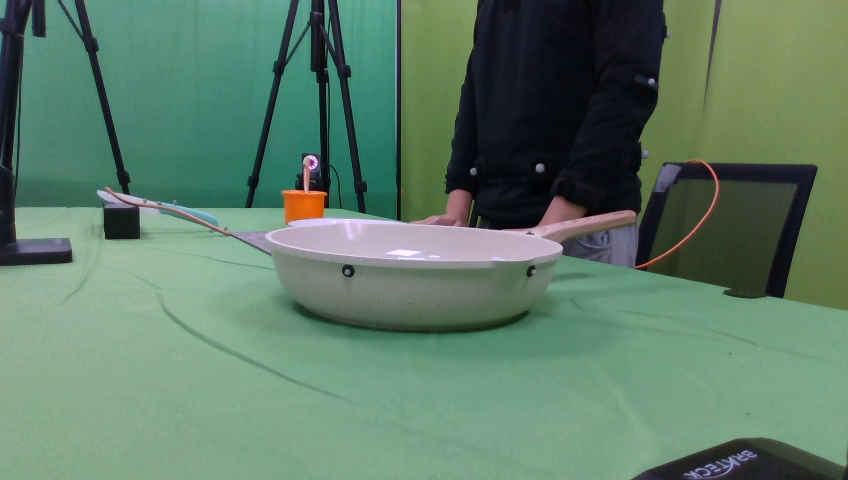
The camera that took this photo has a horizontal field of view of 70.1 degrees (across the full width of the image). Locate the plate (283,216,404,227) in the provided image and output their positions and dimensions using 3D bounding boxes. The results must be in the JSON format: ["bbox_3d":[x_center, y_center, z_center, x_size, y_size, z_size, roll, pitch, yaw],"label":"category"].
[{"bbox_3d":[-0.119,-0.009,0.968,0.208,0.039,0.207,3,7,0],"label":"plate"}]

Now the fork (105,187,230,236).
[{"bbox_3d":[-0.428,-0.046,1.020,0.208,0.018,0.028,19,-8,-26],"label":"fork"}]

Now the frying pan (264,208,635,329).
[{"bbox_3d":[0.075,0.007,0.666,0.490,0.102,0.305,-12,15,-33],"label":"frying pan"}]

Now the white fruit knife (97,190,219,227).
[{"bbox_3d":[-0.468,-0.056,1.079,0.208,0.027,0.016,15,-1,-29],"label":"white fruit knife"}]

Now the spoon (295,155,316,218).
[{"bbox_3d":[-0.247,-0.108,1.262,0.042,0.021,0.193,5,46,-17],"label":"spoon"}]
